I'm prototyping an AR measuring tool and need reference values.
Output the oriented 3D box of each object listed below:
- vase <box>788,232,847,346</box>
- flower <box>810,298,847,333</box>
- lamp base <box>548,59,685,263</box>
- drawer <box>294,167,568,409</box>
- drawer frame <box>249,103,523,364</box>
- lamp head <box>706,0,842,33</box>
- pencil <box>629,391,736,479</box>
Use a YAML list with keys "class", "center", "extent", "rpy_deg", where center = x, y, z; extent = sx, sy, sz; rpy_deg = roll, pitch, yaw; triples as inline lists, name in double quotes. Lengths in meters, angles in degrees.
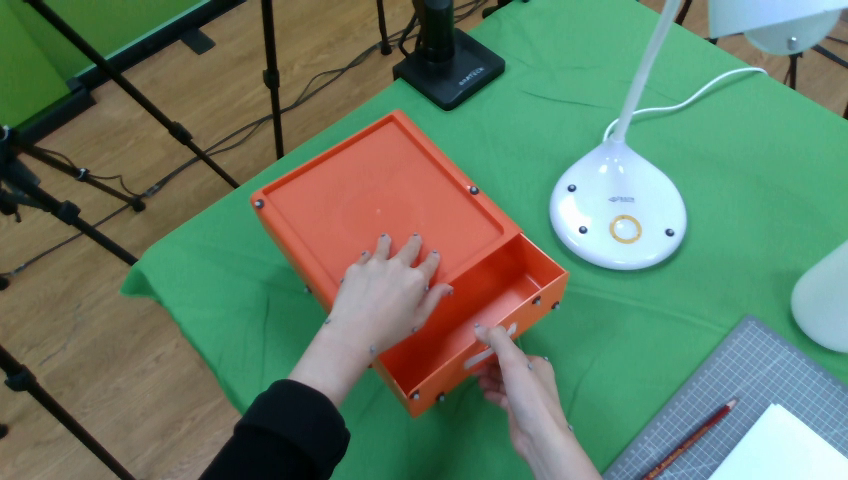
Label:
- class: "vase"
  center: [0.436, 0.026, 0.580]
  extent: [0.098, 0.202, 0.097]
  rpy_deg: [-2, 58, 3]
- class: "flower"
  center: [0.449, -0.023, 0.512]
  extent: [0.038, 0.364, 0.044]
  rpy_deg: [30, 47, 11]
- class: "lamp base"
  center: [0.225, -0.093, 0.671]
  extent: [0.161, 0.182, 0.177]
  rpy_deg: [-9, 56, -2]
- class: "drawer"
  center: [0.001, 0.028, 0.615]
  extent: [0.194, 0.074, 0.210]
  rpy_deg: [-35, 63, -16]
- class: "drawer frame"
  center: [-0.041, -0.013, 0.645]
  extent: [0.201, 0.083, 0.212]
  rpy_deg: [-35, 66, -16]
- class: "lamp head"
  center: [0.239, -0.208, 0.401]
  extent: [0.112, 0.112, 0.123]
  rpy_deg: [-15, 98, -6]
- class: "pencil"
  center: [0.241, 0.204, 0.591]
  extent: [0.194, 0.012, 0.012]
  rpy_deg: [-32, 62, -17]
